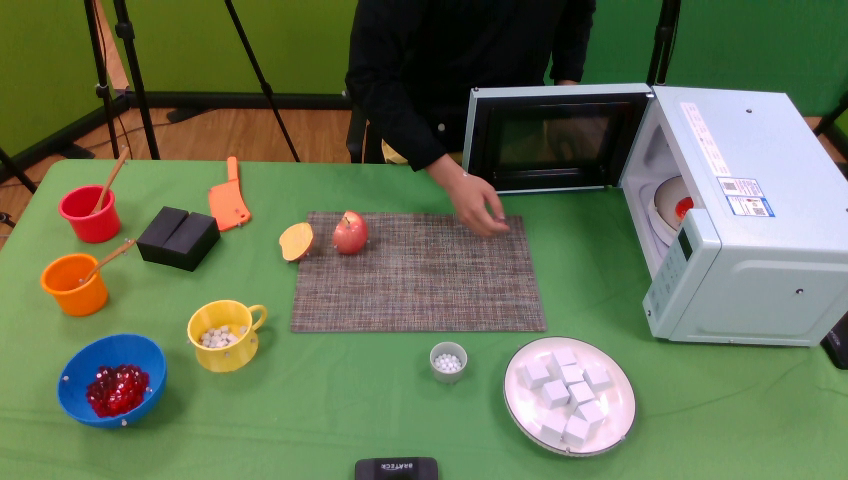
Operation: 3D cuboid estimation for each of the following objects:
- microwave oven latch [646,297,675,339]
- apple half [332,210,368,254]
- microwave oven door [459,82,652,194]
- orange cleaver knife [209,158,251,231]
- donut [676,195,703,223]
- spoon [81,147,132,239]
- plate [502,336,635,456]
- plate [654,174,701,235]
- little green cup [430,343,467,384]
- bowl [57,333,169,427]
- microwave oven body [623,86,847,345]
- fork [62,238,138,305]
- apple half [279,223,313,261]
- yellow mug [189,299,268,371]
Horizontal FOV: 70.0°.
[{"bbox_3d":[0.412,0.134,1.061,0.030,0.029,0.078,4,45,1],"label":"microwave oven latch"},{"bbox_3d":[-0.136,-0.010,1.158,0.053,0.075,0.080,17,43,8],"label":"apple half"},{"bbox_3d":[0.259,-0.204,1.236,0.356,0.245,0.039,-4,46,-7],"label":"microwave oven door"},{"bbox_3d":[-0.409,-0.099,1.266,0.077,0.012,0.210,-14,49,-10],"label":"orange cleaver knife"},{"bbox_3d":[0.538,-0.049,1.171,0.099,0.048,0.098,2,44,-2],"label":"donut"},{"bbox_3d":[-0.603,-0.089,1.156,0.041,0.022,0.193,28,95,19],"label":"spoon"},{"bbox_3d":[0.225,0.248,0.964,0.208,0.039,0.206,2,46,-2],"label":"plate"},{"bbox_3d":[0.555,-0.049,1.186,0.209,0.038,0.208,2,46,-1],"label":"plate"},{"bbox_3d":[0.039,0.203,0.994,0.061,0.039,0.061,2,46,-2],"label":"little green cup"},{"bbox_3d":[-0.456,0.223,0.912,0.151,0.077,0.150,3,45,-2],"label":"bowl"},{"bbox_3d":[0.567,-0.053,1.118,0.326,0.261,0.439,2,45,-1],"label":"microwave oven body"},{"bbox_3d":[-0.547,0.053,1.018,0.207,0.019,0.028,-36,41,23],"label":"fork"},{"bbox_3d":[-0.237,0.007,1.157,0.081,0.033,0.081,-14,58,23],"label":"apple half"},{"bbox_3d":[-0.316,0.148,1.002,0.131,0.064,0.099,-32,56,-31],"label":"yellow mug"}]
